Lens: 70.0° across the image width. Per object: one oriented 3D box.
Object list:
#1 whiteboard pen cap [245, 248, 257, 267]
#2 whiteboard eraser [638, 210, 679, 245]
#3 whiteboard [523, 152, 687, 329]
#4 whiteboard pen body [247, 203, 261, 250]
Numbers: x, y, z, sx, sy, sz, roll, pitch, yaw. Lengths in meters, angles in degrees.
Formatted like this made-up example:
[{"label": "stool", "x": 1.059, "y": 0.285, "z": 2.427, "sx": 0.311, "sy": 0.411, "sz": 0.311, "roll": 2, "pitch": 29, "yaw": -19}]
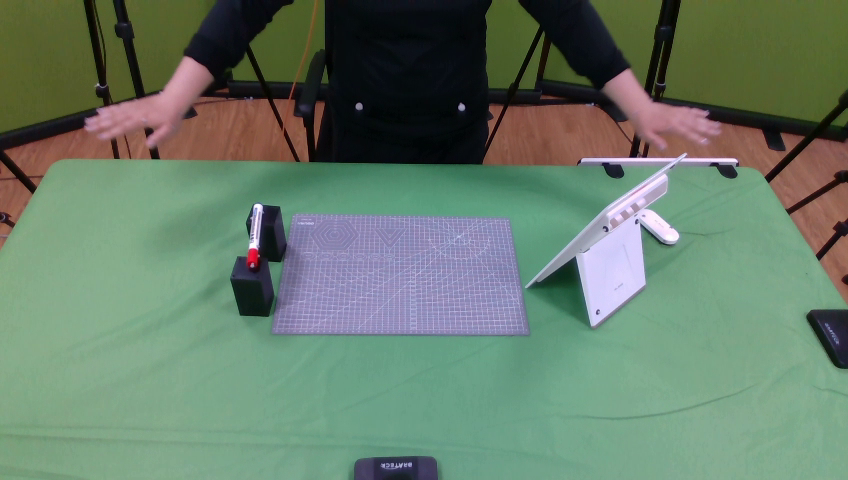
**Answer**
[{"label": "whiteboard pen cap", "x": -0.288, "y": 0.028, "z": 1.010, "sx": 0.017, "sy": 0.017, "sz": 0.032, "roll": -2, "pitch": 44, "yaw": -6}, {"label": "whiteboard eraser", "x": 0.485, "y": -0.027, "z": 1.260, "sx": 0.041, "sy": 0.019, "sz": 0.100, "roll": -21, "pitch": 50, "yaw": -21}, {"label": "whiteboard", "x": 0.346, "y": 0.025, "z": 1.046, "sx": 0.217, "sy": 0.306, "sz": 0.143, "roll": -30, "pitch": 74, "yaw": -29}, {"label": "whiteboard pen body", "x": -0.295, "y": -0.014, "z": 1.052, "sx": 0.017, "sy": 0.017, "sz": 0.139, "roll": -2, "pitch": 45, "yaw": -6}]
